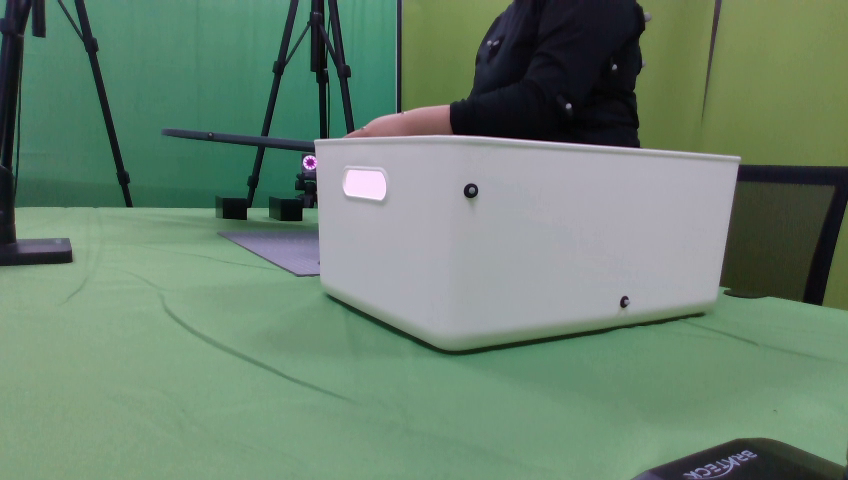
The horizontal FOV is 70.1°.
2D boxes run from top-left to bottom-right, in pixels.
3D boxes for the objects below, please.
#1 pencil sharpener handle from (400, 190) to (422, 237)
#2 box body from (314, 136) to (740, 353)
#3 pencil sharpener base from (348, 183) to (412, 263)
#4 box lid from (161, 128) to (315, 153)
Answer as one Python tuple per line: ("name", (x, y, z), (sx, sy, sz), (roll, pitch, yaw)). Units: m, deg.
("pencil sharpener handle", (-0.015, -0.038, 0.872), (0.031, 0.067, 0.036), (-1, 15, -30))
("box body", (0.098, -0.012, 0.605), (0.366, 0.160, 0.253), (-2, 8, -33))
("pencil sharpener base", (-0.059, -0.024, 0.846), (0.077, 0.107, 0.061), (-1, 7, -30))
("box lid", (-0.296, -0.186, 1.188), (0.372, 0.015, 0.262), (4, 6, -9))
